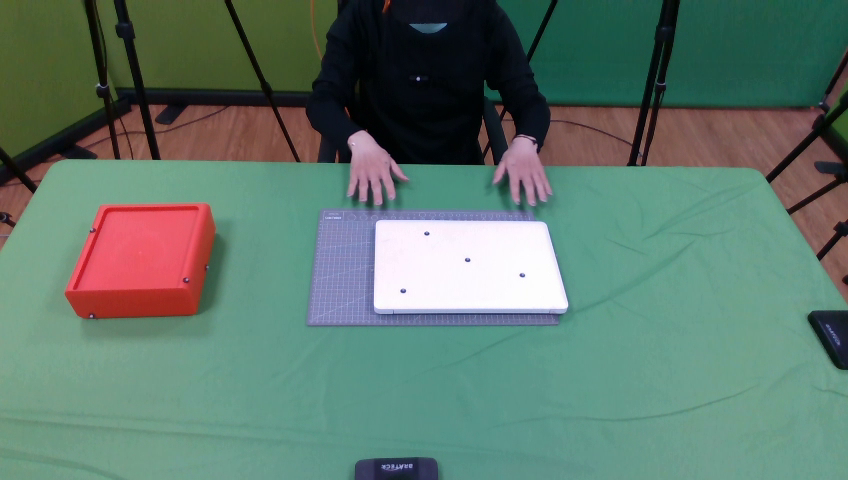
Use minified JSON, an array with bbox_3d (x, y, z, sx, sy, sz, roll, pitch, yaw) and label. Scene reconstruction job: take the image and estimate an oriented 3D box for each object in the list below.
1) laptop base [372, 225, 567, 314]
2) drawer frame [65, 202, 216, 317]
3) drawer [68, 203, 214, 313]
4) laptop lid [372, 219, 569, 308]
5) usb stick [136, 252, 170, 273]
[{"bbox_3d":[0.080,0.049,1.158,0.355,0.023,0.234,0,43,-4],"label":"laptop base"},{"bbox_3d":[-0.497,0.029,1.090,0.202,0.083,0.212,-1,47,-6],"label":"drawer frame"},{"bbox_3d":[-0.499,0.028,1.091,0.195,0.073,0.210,-1,47,-6],"label":"drawer"},{"bbox_3d":[0.081,0.039,1.152,0.357,0.013,0.240,2,44,-3],"label":"laptop lid"},{"bbox_3d":[-0.498,0.040,1.106,0.059,0.027,0.021,11,46,6],"label":"usb stick"}]
